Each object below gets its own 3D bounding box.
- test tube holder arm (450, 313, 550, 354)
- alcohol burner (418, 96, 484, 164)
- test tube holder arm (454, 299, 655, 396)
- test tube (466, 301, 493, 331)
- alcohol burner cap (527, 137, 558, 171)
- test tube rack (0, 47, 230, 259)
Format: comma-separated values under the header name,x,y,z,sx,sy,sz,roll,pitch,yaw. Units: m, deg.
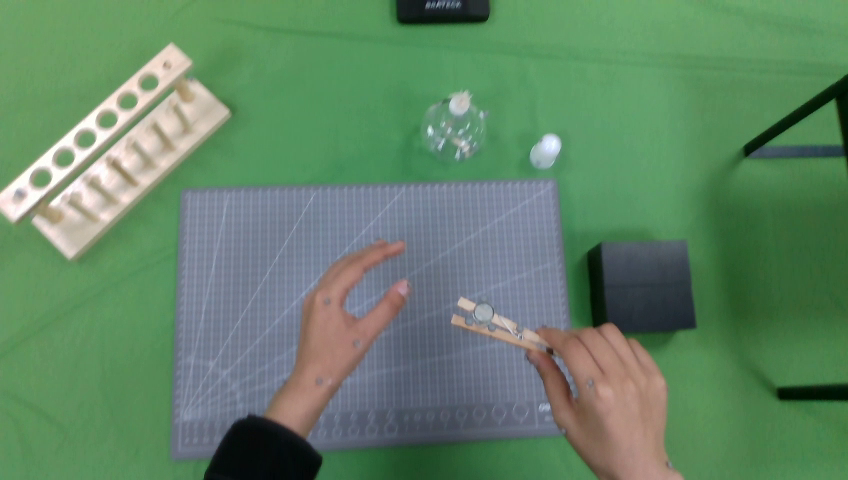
name,x,y,z,sx,sy,sz,roll,pitch,yaw
test tube holder arm,0.065,0.080,0.515,0.087,0.015,0.010,17,87,7
alcohol burner,0.033,-0.133,0.698,0.078,0.119,0.077,1,76,-5
test tube holder arm,0.109,0.090,0.510,0.178,0.015,0.013,22,88,7
test tube,0.044,0.065,0.502,0.017,0.151,0.017,0,79,2
alcohol burner cap,0.146,-0.106,0.737,0.034,0.048,0.033,1,76,-4
test tube rack,-0.338,-0.094,0.674,0.066,0.085,0.242,42,78,6
